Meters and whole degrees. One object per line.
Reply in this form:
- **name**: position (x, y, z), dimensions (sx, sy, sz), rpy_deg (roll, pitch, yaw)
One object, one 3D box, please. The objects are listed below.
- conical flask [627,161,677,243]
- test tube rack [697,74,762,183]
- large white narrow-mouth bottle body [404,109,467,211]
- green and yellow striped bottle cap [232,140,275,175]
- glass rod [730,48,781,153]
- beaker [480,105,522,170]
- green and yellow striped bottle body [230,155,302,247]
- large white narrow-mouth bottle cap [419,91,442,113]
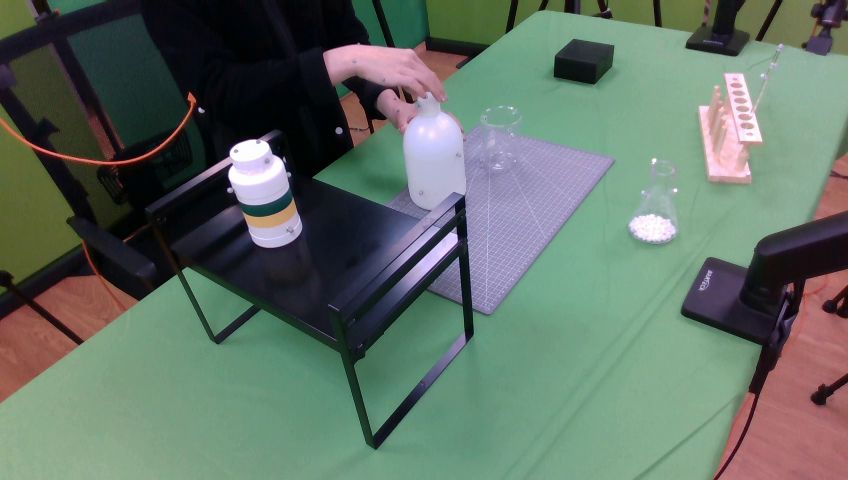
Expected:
- **conical flask**: position (0.355, -0.061, 0.921), dimensions (0.075, 0.122, 0.075), rpy_deg (-4, 41, 4)
- **test tube rack**: position (0.547, -0.208, 1.095), dimensions (0.066, 0.085, 0.242), rpy_deg (5, 42, 15)
- **large white narrow-mouth bottle body**: position (0.017, -0.152, 1.016), dimensions (0.102, 0.195, 0.101), rpy_deg (-4, 39, 4)
- **green and yellow striped bottle cap**: position (-0.192, -0.093, 0.680), dimensions (0.045, 0.020, 0.045), rpy_deg (-5, 39, 5)
- **glass rod**: position (0.554, -0.228, 1.015), dimensions (0.008, 0.200, 0.008), rpy_deg (1, 44, -1)
- **beaker**: position (0.145, -0.187, 1.111), dimensions (0.084, 0.101, 0.073), rpy_deg (-35, 48, -29)
- **green and yellow striped bottle body**: position (-0.188, -0.055, 0.714), dimensions (0.063, 0.120, 0.063), rpy_deg (-4, 41, 4)
- **large white narrow-mouth bottle cap**: position (0.009, -0.220, 0.962), dimensions (0.038, 0.024, 0.037), rpy_deg (-4, 39, 4)
